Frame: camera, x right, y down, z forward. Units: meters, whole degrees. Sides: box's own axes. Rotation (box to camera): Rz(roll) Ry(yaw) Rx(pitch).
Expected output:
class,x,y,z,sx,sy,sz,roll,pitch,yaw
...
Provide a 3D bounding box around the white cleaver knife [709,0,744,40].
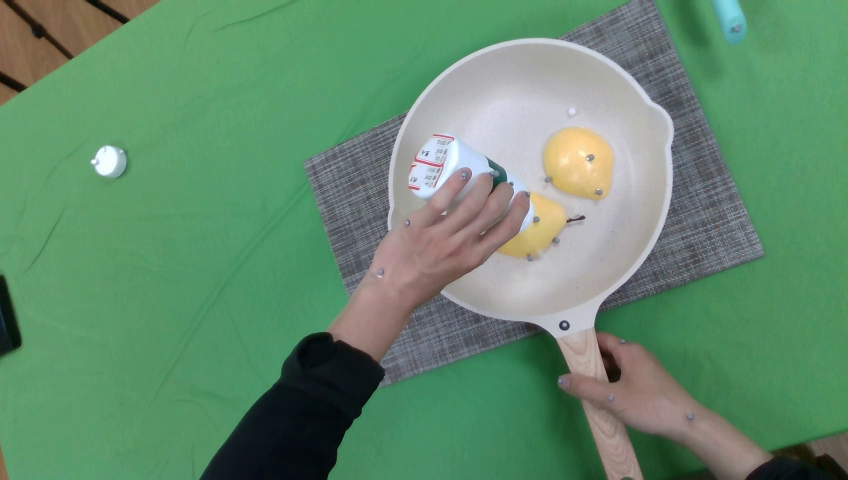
class,x,y,z,sx,sy,sz,roll,pitch,yaw
white cleaver knife,0.263,-0.332,0.613,0.021,0.066,0.285,-20,80,22

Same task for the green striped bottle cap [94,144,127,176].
class,x,y,z,sx,sy,sz,roll,pitch,yaw
green striped bottle cap,-0.447,-0.114,0.863,0.044,0.020,0.044,-1,88,19

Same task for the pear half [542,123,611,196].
class,x,y,z,sx,sy,sz,roll,pitch,yaw
pear half,0.165,-0.087,0.651,0.070,0.031,0.087,-38,74,18

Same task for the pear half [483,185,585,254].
class,x,y,z,sx,sy,sz,roll,pitch,yaw
pear half,0.117,-0.025,0.653,0.109,0.056,0.076,-9,91,16

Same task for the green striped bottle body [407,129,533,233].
class,x,y,z,sx,sy,sz,roll,pitch,yaw
green striped bottle body,0.048,-0.048,0.557,0.063,0.120,0.062,-31,46,39

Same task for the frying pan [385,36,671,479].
class,x,y,z,sx,sy,sz,roll,pitch,yaw
frying pan,0.132,0.032,0.622,0.306,0.103,0.484,-20,74,17
